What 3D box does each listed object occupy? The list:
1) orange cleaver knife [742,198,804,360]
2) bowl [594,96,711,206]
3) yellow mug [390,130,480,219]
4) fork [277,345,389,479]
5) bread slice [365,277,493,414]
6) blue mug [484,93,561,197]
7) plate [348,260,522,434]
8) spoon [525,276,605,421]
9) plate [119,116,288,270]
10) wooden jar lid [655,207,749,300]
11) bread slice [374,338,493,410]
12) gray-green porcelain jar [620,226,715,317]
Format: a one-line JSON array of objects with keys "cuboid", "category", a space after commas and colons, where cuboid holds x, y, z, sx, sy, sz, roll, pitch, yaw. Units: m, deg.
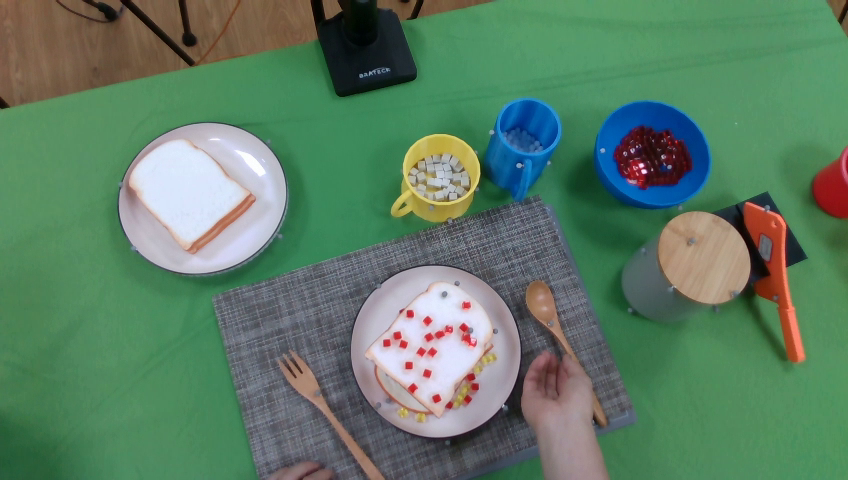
[{"cuboid": [0.443, 0.049, 0.772, 0.012, 0.077, 0.212, -18, 101, -9], "category": "orange cleaver knife"}, {"cuboid": [0.293, -0.107, 0.812, 0.151, 0.077, 0.150, 1, 73, -4], "category": "bowl"}, {"cuboid": [0.009, -0.076, 0.789, 0.131, 0.064, 0.099, -37, 77, -13], "category": "yellow mug"}, {"cuboid": [-0.105, 0.209, 0.712, 0.028, 0.019, 0.206, -36, 77, -20], "category": "fork"}, {"cuboid": [0.012, 0.108, 0.681, 0.107, 0.018, 0.134, 37, 68, 2], "category": "bread slice"}, {"cuboid": [0.126, -0.113, 0.789, 0.082, 0.106, 0.116, 3, 72, -2], "category": "blue mug"}, {"cuboid": [0.013, 0.127, 0.737, 0.209, 0.038, 0.208, 1, 73, -3], "category": "plate"}, {"cuboid": [0.177, 0.135, 0.754, 0.042, 0.022, 0.192, -18, 73, -30], "category": "spoon"}, {"cuboid": [-0.278, -0.059, 0.778, 0.208, 0.039, 0.206, 1, 73, -4], "category": "plate"}, {"cuboid": [0.311, 0.016, 0.684, 0.108, 0.021, 0.108, 2, 74, -6], "category": "wooden jar lid"}, {"cuboid": [0.007, 0.139, 0.736, 0.104, 0.019, 0.131, 38, 72, 10], "category": "bread slice"}, {"cuboid": [0.308, 0.036, 0.744, 0.106, 0.127, 0.105, 1, 72, -4], "category": "gray-green porcelain jar"}]
